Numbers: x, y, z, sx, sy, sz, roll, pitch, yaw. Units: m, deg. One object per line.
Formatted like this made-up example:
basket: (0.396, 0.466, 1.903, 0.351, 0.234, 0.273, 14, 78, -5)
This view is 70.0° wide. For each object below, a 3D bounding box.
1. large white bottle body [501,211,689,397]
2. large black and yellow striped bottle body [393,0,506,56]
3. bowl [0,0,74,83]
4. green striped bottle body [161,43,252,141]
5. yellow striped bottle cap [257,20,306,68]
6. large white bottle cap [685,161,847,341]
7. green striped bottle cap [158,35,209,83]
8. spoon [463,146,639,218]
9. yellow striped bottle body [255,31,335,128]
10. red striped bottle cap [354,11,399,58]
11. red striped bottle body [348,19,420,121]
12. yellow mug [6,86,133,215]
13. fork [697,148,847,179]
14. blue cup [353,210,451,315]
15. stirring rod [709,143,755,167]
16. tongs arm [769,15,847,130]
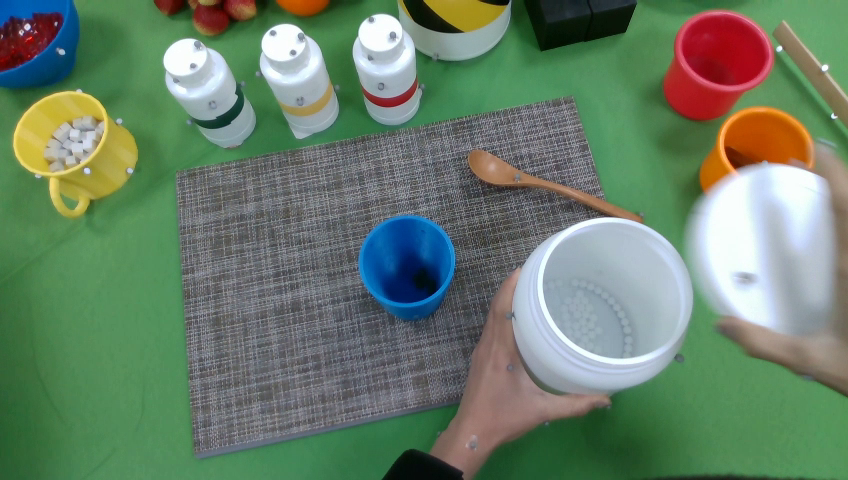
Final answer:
large white bottle body: (0.135, 0.059, 0.509, 0.130, 0.186, 0.129, -1, 71, 3)
large black and yellow striped bottle body: (0.026, -0.300, 0.637, 0.131, 0.185, 0.130, -1, 71, 2)
bowl: (-0.463, -0.234, 0.690, 0.151, 0.077, 0.150, 0, 72, 1)
green striped bottle body: (-0.229, -0.158, 0.634, 0.063, 0.120, 0.063, -1, 71, 2)
yellow striped bottle cap: (-0.138, -0.190, 0.586, 0.044, 0.019, 0.044, 0, 73, 1)
large white bottle cap: (0.223, 0.005, 0.380, 0.115, 0.018, 0.114, 1, 75, -2)
green striped bottle cap: (-0.232, -0.175, 0.584, 0.044, 0.020, 0.044, 0, 70, 2)
spoon: (0.132, -0.058, 0.634, 0.193, 0.022, 0.041, 19, 48, 8)
yellow striped bottle body: (-0.135, -0.173, 0.635, 0.063, 0.121, 0.062, -1, 71, 3)
red striped bottle cap: (-0.046, -0.199, 0.584, 0.044, 0.018, 0.044, 1, 69, -1)
red striped bottle body: (-0.042, -0.181, 0.634, 0.063, 0.120, 0.062, -2, 70, 6)
yellow mug: (-0.377, -0.090, 0.645, 0.100, 0.064, 0.130, -2, 72, 1)
fork: (0.352, -0.066, 0.565, 0.028, 0.019, 0.205, -50, 33, -12)
blue cup: (-0.018, 0.030, 0.569, 0.092, 0.101, 0.092, 0, 71, 1)
stirring rod: (0.321, -0.062, 0.572, 0.014, 0.006, 0.174, -9, 29, -4)
tongs arm: (0.492, -0.090, 0.626, 0.051, 0.027, 0.382, -23, 73, -7)
